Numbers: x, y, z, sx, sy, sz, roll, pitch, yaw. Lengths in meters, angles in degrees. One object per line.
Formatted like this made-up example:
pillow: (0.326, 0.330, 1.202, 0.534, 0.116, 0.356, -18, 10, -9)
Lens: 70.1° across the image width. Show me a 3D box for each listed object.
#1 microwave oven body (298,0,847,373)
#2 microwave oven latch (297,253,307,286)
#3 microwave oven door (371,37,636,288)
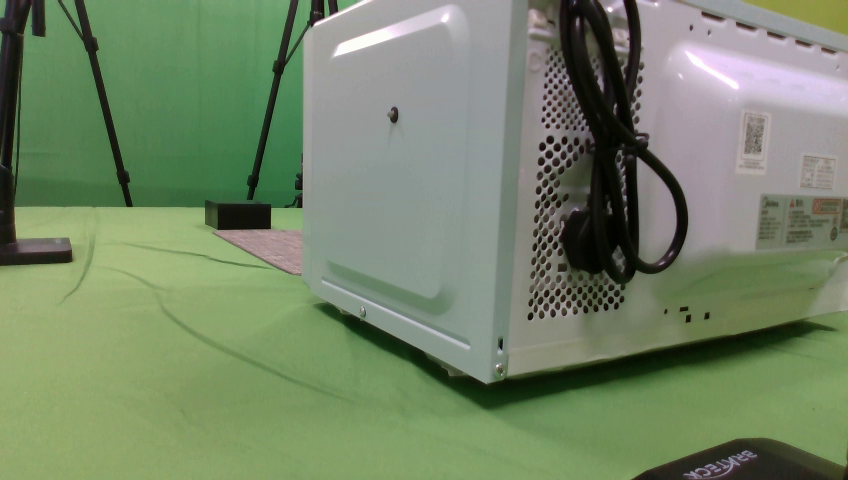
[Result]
microwave oven body: (0.151, -0.055, 0.543, 0.444, 0.260, 0.324, -1, 7, -33)
microwave oven latch: (-0.082, 0.027, 0.582, 0.079, 0.029, 0.030, -1, 7, -31)
microwave oven door: (0.109, -0.080, 0.686, 0.358, 0.243, 0.039, -2, 9, -33)
